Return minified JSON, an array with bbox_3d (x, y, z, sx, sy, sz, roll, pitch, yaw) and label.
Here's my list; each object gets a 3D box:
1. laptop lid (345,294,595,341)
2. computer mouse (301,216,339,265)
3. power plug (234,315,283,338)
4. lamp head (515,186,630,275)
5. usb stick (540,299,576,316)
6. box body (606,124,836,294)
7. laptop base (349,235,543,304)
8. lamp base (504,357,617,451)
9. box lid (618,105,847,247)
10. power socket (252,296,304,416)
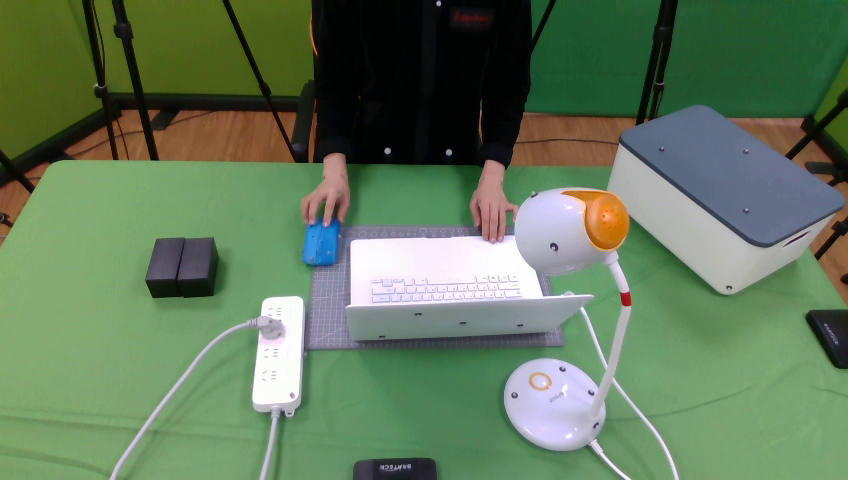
[{"bbox_3d":[0.059,0.124,0.934,0.357,0.242,0.013,-1,69,-7],"label":"laptop lid"},{"bbox_3d":[-0.200,-0.002,1.169,0.063,0.041,0.116,4,50,-4],"label":"computer mouse"},{"bbox_3d":[-0.269,0.143,1.000,0.072,0.053,0.035,4,47,3],"label":"power plug"},{"bbox_3d":[0.188,-0.013,0.728,0.112,0.112,0.122,-25,9,-25],"label":"lamp head"},{"bbox_3d":[0.239,0.121,1.083,0.059,0.027,0.021,-1,51,-2],"label":"usb stick"},{"bbox_3d":[0.584,-0.088,1.230,0.254,0.161,0.361,-22,52,-23],"label":"box body"},{"bbox_3d":[0.039,0.081,1.124,0.355,0.023,0.234,-2,43,-6],"label":"laptop base"},{"bbox_3d":[0.220,0.211,0.902,0.160,0.181,0.178,-32,59,-30],"label":"lamp base"},{"bbox_3d":[0.587,-0.138,1.175,0.263,0.015,0.369,-22,50,-22],"label":"box lid"},{"bbox_3d":[-0.238,0.181,0.997,0.072,0.033,0.225,-3,47,-5],"label":"power socket"}]
